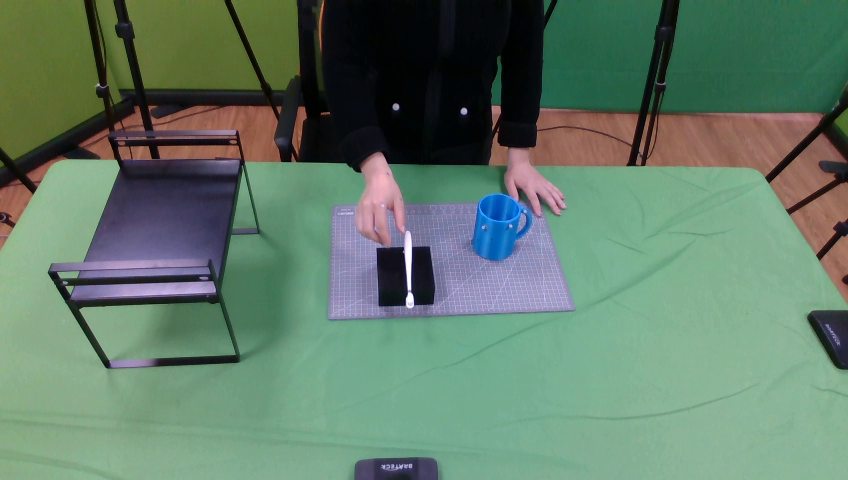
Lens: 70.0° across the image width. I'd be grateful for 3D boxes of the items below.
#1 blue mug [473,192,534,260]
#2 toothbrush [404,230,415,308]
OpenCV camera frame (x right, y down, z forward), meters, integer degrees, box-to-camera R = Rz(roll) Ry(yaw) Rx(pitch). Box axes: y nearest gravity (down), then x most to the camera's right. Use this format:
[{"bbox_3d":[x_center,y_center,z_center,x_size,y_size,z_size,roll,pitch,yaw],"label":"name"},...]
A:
[{"bbox_3d":[0.156,-0.029,1.173,0.117,0.106,0.082,-8,47,-11],"label":"blue mug"},{"bbox_3d":[-0.028,0.046,1.082,0.014,0.017,0.180,-12,45,8],"label":"toothbrush"}]
